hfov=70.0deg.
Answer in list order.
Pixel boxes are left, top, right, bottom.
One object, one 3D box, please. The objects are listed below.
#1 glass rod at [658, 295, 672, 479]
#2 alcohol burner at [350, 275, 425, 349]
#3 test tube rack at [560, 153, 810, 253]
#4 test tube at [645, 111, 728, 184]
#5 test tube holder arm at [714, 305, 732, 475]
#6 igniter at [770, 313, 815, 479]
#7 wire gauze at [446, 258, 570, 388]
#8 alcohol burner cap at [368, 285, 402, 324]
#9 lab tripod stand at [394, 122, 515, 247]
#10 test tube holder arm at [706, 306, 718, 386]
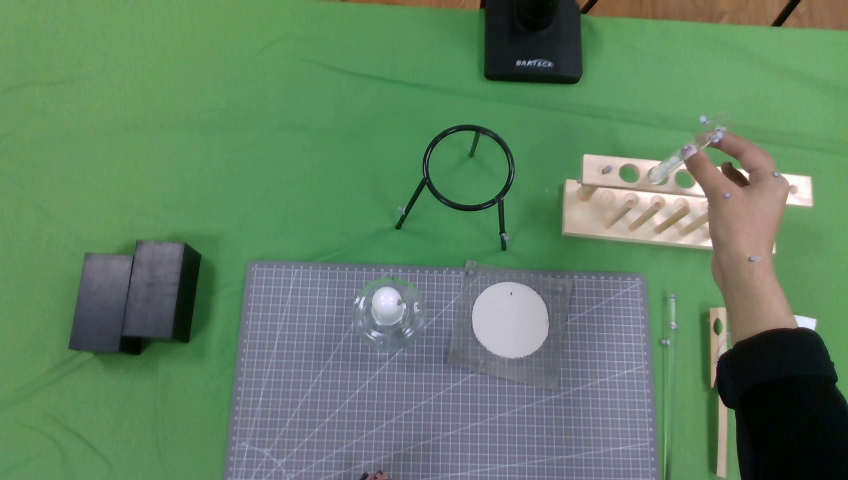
[{"bbox_3d":[0.263,0.158,0.659,0.008,0.008,0.199,8,77,0],"label":"glass rod"},{"bbox_3d":[-0.038,0.070,0.613,0.078,0.119,0.077,0,75,0],"label":"alcohol burner"},{"bbox_3d":[0.283,-0.039,0.672,0.242,0.085,0.066,6,75,-1],"label":"test tube rack"},{"bbox_3d":[0.243,-0.083,0.575,0.017,0.151,0.017,1,76,-3],"label":"test tube"},{"bbox_3d":[0.321,0.160,0.654,0.013,0.015,0.177,-8,71,35],"label":"test tube holder arm"},{"bbox_3d":[0.393,0.215,0.640,0.057,0.025,0.275,12,75,-10],"label":"igniter"},{"bbox_3d":[0.094,0.089,0.669,0.125,0.011,0.121,13,76,0],"label":"wire gauze"},{"bbox_3d":[-0.038,0.059,0.579,0.034,0.048,0.033,1,69,-3],"label":"alcohol burner cap"},{"bbox_3d":[0.037,-0.054,0.642,0.148,0.132,0.147,0,77,-1],"label":"lab tripod stand"},{"bbox_3d":[0.319,0.117,0.669,0.010,0.015,0.087,-7,72,36],"label":"test tube holder arm"}]
